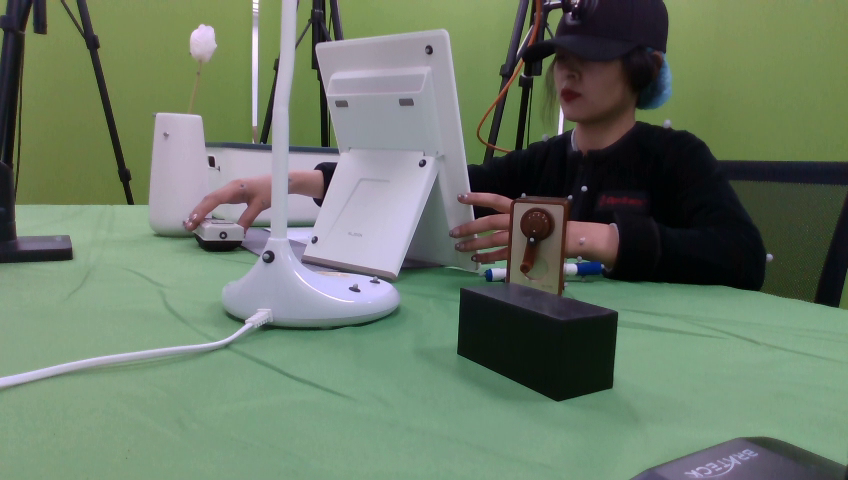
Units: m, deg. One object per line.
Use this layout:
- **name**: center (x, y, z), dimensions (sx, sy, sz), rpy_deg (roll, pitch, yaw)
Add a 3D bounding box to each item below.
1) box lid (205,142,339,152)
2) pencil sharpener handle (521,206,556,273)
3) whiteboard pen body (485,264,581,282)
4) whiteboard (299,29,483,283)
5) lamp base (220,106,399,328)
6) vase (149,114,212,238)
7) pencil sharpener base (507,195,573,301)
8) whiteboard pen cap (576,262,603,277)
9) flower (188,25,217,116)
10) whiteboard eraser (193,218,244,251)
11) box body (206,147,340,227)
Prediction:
- **box lid**: center (-0.270, -0.196, 1.310), dimensions (0.373, 0.015, 0.262), rpy_deg (-2, 9, -30)
- **pencil sharpener handle**: center (0.111, 0.000, 0.613), dimensions (0.036, 0.067, 0.031), rpy_deg (13, 10, 14)
- **whiteboard pen body**: center (0.144, 0.039, 0.737), dimensions (0.141, 0.017, 0.017), rpy_deg (-3, 8, -9)
- **whiteboard**: center (-0.074, -0.082, 0.741), dimensions (0.216, 0.305, 0.144), rpy_deg (9, 29, 38)
- **lamp base**: center (-0.102, -0.023, 0.531), dimensions (0.160, 0.180, 0.179), rpy_deg (4, 10, 10)
- **vase**: center (-0.405, -0.106, 1.005), dimensions (0.098, 0.200, 0.098), rpy_deg (2, 6, 0)
- **pencil sharpener base**: center (0.127, 0.007, 0.663), dimensions (0.061, 0.107, 0.077), rpy_deg (5, 8, 15)
- **whiteboard pen cap**: center (0.203, 0.036, 0.749), dimensions (0.033, 0.018, 0.018), rpy_deg (-3, 8, -7)
- **flower**: center (-0.394, -0.189, 1.011), dimensions (0.044, 0.361, 0.038), rpy_deg (-2, -13, 27)
- **whiteboard eraser**: center (-0.307, -0.009, 0.900), dimensions (0.056, 0.042, 0.112), rpy_deg (-4, 10, -29)
- **box body**: center (-0.276, -0.122, 1.320), dimensions (0.366, 0.160, 0.253), rpy_deg (-2, 9, -30)
